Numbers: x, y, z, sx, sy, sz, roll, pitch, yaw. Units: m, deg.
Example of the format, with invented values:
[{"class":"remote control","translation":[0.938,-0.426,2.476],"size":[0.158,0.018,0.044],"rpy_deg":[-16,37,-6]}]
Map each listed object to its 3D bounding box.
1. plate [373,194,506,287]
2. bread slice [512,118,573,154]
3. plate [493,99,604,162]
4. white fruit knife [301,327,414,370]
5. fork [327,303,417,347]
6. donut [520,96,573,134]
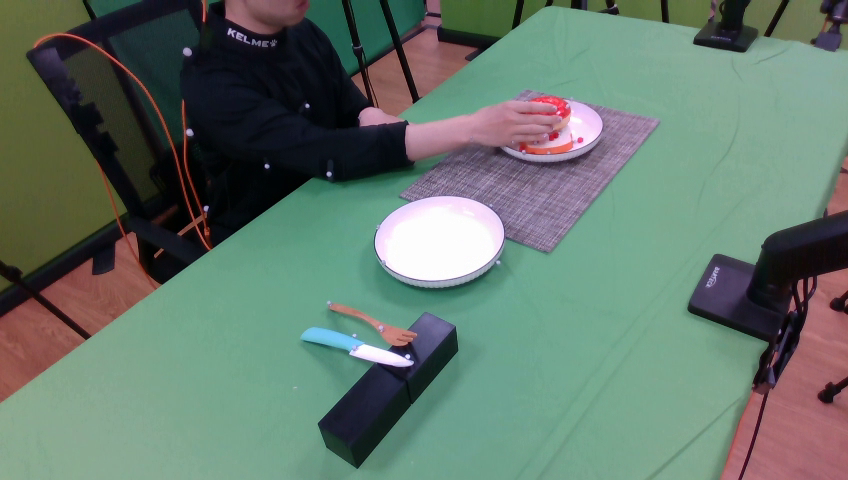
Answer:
[{"class":"plate","translation":[0.025,0.003,0.951],"size":[0.207,0.039,0.206],"rpy_deg":[-4,41,4]},{"class":"bread slice","translation":[0.233,-0.204,1.160],"size":[0.105,0.019,0.131],"rpy_deg":[-8,39,1]},{"class":"plate","translation":[0.237,-0.206,1.158],"size":[0.209,0.038,0.208],"rpy_deg":[-4,40,4]},{"class":"white fruit knife","translation":[-0.088,0.140,0.781],"size":[0.205,0.016,0.027],"rpy_deg":[8,42,42]},{"class":"fork","translation":[-0.077,0.110,0.811],"size":[0.028,0.019,0.205],"rpy_deg":[-40,33,-26]},{"class":"donut","translation":[0.229,-0.236,1.134],"size":[0.099,0.048,0.098],"rpy_deg":[-6,40,6]}]
